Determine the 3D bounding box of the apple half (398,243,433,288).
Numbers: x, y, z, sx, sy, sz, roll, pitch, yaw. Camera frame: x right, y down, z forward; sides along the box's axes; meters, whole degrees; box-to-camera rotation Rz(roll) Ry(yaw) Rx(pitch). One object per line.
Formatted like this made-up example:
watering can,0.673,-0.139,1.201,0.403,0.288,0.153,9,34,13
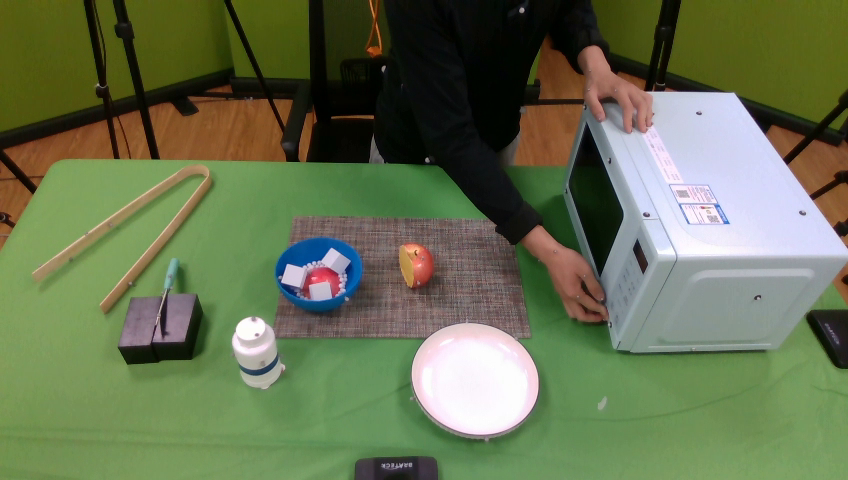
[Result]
apple half,-0.012,0.047,1.115,0.053,0.075,0.080,-10,43,-21

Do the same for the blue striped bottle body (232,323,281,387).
blue striped bottle body,-0.262,0.171,0.944,0.063,0.121,0.062,2,46,-2

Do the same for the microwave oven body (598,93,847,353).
microwave oven body,0.476,-0.042,1.110,0.326,0.261,0.438,-1,45,-4

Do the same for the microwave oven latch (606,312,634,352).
microwave oven latch,0.335,0.154,1.044,0.030,0.029,0.078,3,45,0

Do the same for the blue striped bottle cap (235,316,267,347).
blue striped bottle cap,-0.259,0.137,0.907,0.044,0.021,0.044,2,43,-2

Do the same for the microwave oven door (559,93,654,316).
microwave oven door,0.328,-0.074,1.123,0.039,0.245,0.353,-1,46,-5

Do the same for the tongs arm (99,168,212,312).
tongs arm,-0.504,-0.013,1.168,0.028,0.028,0.385,11,45,11

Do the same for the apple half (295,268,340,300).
apple half,-0.187,0.071,1.067,0.081,0.033,0.081,4,46,-4

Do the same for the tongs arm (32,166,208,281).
tongs arm,-0.578,-0.040,1.185,0.050,0.026,0.384,23,47,17

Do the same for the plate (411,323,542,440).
plate,0.083,0.228,0.976,0.208,0.039,0.206,2,45,-2

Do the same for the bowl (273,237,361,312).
bowl,-0.186,0.074,1.070,0.151,0.077,0.150,3,46,-3

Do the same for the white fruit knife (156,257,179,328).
white fruit knife,-0.440,0.085,1.037,0.016,0.027,0.206,10,26,-19
